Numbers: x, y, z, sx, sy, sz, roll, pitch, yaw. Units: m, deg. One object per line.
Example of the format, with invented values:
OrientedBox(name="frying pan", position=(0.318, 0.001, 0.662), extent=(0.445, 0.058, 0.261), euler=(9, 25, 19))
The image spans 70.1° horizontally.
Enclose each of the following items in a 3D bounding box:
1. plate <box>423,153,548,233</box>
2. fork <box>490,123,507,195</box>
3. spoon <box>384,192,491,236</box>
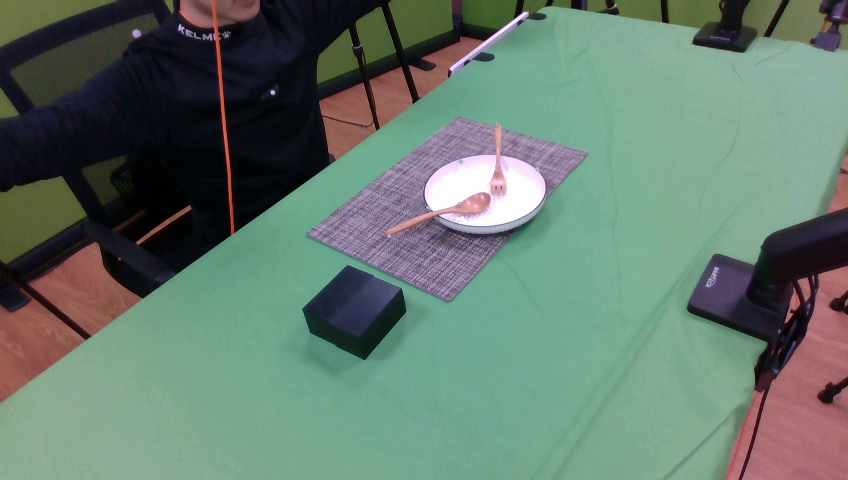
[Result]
OrientedBox(name="plate", position=(0.104, -0.076, 1.024), extent=(0.209, 0.038, 0.208), euler=(-4, 40, 4))
OrientedBox(name="fork", position=(0.133, -0.149, 1.082), extent=(0.028, 0.019, 0.206), euler=(-2, 49, 8))
OrientedBox(name="spoon", position=(0.023, -0.042, 0.970), extent=(0.195, 0.022, 0.041), euler=(-17, 45, -23))
